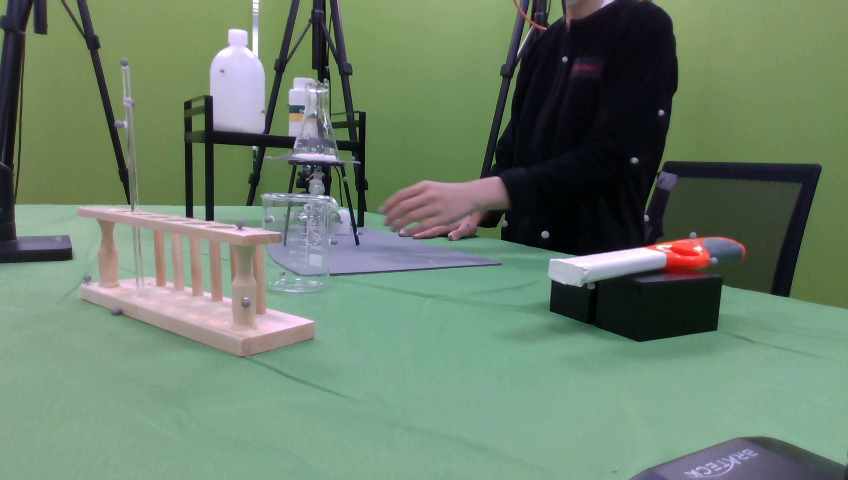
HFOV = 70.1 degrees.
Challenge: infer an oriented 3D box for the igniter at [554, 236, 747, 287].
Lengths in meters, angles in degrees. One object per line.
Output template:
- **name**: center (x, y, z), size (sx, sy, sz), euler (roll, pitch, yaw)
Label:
- **igniter**: center (0.221, 0.017, 0.558), size (0.278, 0.025, 0.057), euler (-5, 15, -39)

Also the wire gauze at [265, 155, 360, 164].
- **wire gauze**: center (-0.181, -0.128, 0.969), size (0.126, 0.011, 0.121), euler (-3, 7, -26)

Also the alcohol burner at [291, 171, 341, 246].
- **alcohol burner**: center (-0.172, -0.050, 0.962), size (0.078, 0.119, 0.078), euler (1, 6, 0)

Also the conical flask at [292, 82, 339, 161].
- **conical flask**: center (-0.171, -0.185, 0.957), size (0.075, 0.122, 0.075), euler (2, 7, 0)

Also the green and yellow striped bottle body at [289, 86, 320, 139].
- **green and yellow striped bottle body**: center (-0.250, -0.272, 1.261), size (0.063, 0.119, 0.063), euler (3, 7, 0)

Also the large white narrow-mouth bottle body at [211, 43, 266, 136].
- **large white narrow-mouth bottle body**: center (-0.361, -0.302, 1.176), size (0.102, 0.194, 0.102), euler (1, 7, 0)

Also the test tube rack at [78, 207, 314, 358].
- **test tube rack**: center (-0.196, 0.024, 0.500), size (0.241, 0.085, 0.067), euler (8, 8, 37)

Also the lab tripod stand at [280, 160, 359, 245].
- **lab tripod stand**: center (-0.176, -0.062, 0.973), size (0.148, 0.131, 0.148), euler (1, 7, 0)

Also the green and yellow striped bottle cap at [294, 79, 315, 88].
- **green and yellow striped bottle cap**: center (-0.248, -0.323, 1.256), size (0.045, 0.020, 0.045), euler (3, 9, 0)

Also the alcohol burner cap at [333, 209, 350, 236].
- **alcohol burner cap**: center (-0.151, -0.033, 1.116), size (0.034, 0.048, 0.034), euler (3, 6, 0)

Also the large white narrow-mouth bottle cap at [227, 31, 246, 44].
- **large white narrow-mouth bottle cap**: center (-0.361, -0.388, 1.165), size (0.038, 0.024, 0.037), euler (1, 7, 0)

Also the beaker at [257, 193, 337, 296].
- **beaker**: center (-0.130, 0.004, 0.628), size (0.084, 0.100, 0.074), euler (5, 8, 15)

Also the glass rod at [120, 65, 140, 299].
- **glass rod**: center (-0.249, -0.047, 0.513), size (0.008, 0.199, 0.008), euler (-1, 4, 0)
